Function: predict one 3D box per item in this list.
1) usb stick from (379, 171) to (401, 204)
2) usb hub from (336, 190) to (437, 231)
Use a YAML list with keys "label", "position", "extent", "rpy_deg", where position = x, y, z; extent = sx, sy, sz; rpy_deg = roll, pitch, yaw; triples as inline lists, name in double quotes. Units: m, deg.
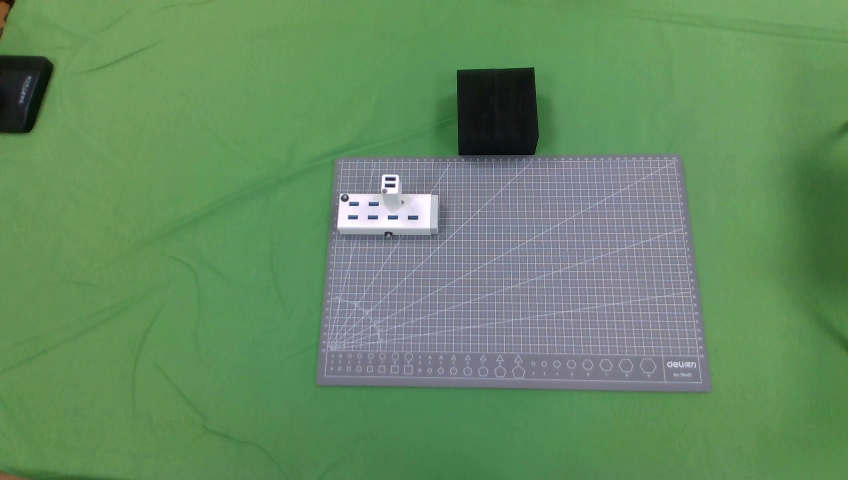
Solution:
- label: "usb stick"
  position: [-0.040, -0.060, 0.738]
  extent: [0.021, 0.059, 0.027]
  rpy_deg: [2, 69, 4]
- label: "usb hub"
  position: [-0.046, -0.037, 0.761]
  extent: [0.125, 0.025, 0.049]
  rpy_deg: [0, 70, 3]
